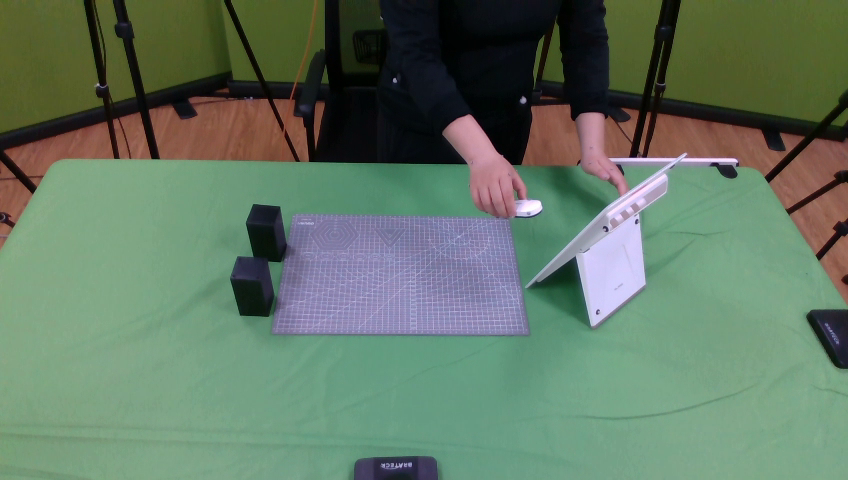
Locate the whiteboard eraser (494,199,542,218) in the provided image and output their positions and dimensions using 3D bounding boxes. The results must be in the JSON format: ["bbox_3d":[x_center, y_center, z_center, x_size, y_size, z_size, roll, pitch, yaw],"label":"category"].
[{"bbox_3d":[0.169,-0.058,1.094,0.041,0.019,0.101,-40,28,-31],"label":"whiteboard eraser"}]

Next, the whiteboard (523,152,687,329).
[{"bbox_3d":[0.346,0.025,1.046,0.217,0.306,0.143,-30,74,-29],"label":"whiteboard"}]
